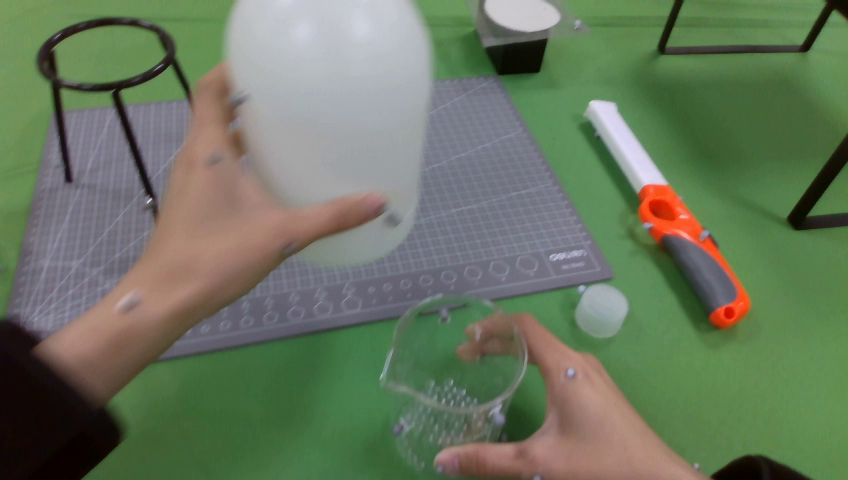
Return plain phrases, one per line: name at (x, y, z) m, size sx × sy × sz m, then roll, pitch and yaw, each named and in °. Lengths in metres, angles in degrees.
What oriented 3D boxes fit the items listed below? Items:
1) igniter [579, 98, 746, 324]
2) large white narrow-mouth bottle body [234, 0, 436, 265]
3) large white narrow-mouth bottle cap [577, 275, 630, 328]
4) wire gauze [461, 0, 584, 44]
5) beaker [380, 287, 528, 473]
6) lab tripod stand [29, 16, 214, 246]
igniter at (0.207, -0.040, 0.546) m, size 0.057 × 0.025 × 0.273 m, roll 1°, pitch 48°, yaw -20°
large white narrow-mouth bottle body at (-0.045, -0.080, 0.315) m, size 0.102 × 0.196 × 0.101 m, roll 4°, pitch 49°, yaw -4°
large white narrow-mouth bottle cap at (0.138, 0.047, 0.465) m, size 0.038 × 0.024 × 0.037 m, roll 3°, pitch 48°, yaw -3°
wire gauze at (0.101, -0.257, 0.678) m, size 0.122 × 0.011 × 0.123 m, roll -7°, pitch 50°, yaw -14°
beaker at (0.013, 0.089, 0.360) m, size 0.084 × 0.101 × 0.073 m, roll -19°, pitch 52°, yaw -20°
lab tripod stand at (-0.226, -0.087, 0.465) m, size 0.148 × 0.132 × 0.147 m, roll 5°, pitch 48°, yaw -5°
